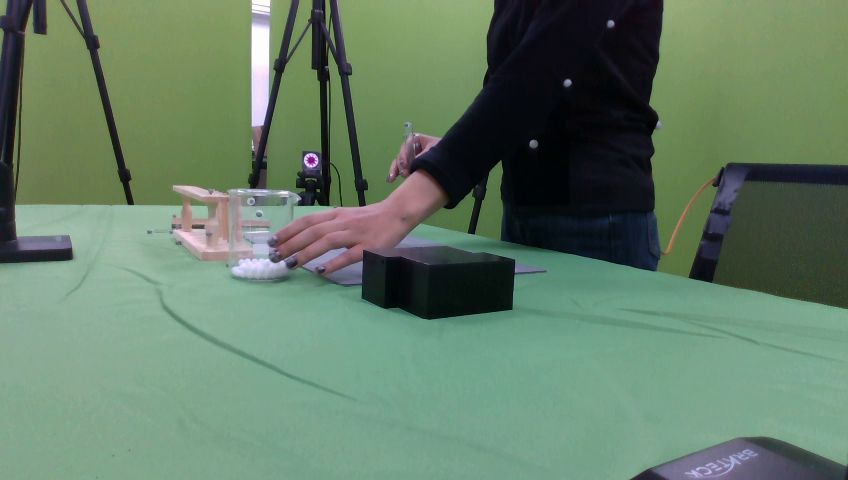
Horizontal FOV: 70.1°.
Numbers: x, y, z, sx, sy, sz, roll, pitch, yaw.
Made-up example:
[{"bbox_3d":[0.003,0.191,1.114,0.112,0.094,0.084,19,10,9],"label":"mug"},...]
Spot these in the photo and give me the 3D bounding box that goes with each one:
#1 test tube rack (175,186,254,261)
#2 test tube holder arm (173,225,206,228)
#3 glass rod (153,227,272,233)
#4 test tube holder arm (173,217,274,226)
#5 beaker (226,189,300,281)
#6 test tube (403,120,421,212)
[{"bbox_3d":[-0.314,-0.031,0.889,0.067,0.085,0.241,-2,8,-30],"label":"test tube rack"},{"bbox_3d":[-0.414,-0.030,1.113,0.088,0.015,0.010,-1,-21,-25],"label":"test tube holder arm"},{"bbox_3d":[-0.368,-0.017,1.066,0.201,0.008,0.008,-2,8,-27],"label":"glass rod"},{"bbox_3d":[-0.371,-0.034,1.127,0.179,0.015,0.013,-1,-21,-25],"label":"test tube holder arm"},{"bbox_3d":[-0.184,-0.007,0.694,0.084,0.100,0.073,-1,8,-28],"label":"beaker"},{"bbox_3d":[-0.020,-0.121,0.990,0.017,0.150,0.017,-6,2,1],"label":"test tube"}]
